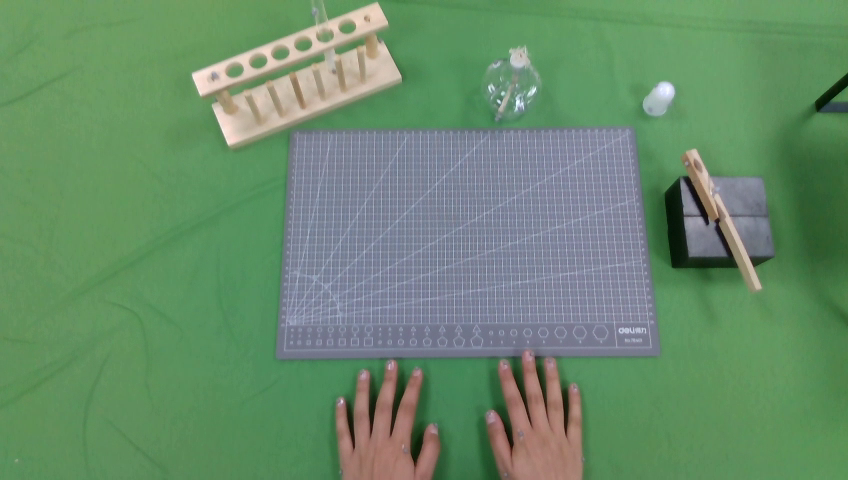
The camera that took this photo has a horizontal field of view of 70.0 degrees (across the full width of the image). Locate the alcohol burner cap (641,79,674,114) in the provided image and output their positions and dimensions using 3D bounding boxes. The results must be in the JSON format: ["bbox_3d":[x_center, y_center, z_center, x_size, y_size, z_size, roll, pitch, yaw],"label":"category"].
[{"bbox_3d":[0.304,-0.188,0.785,0.034,0.048,0.033,0,73,2],"label":"alcohol burner cap"}]

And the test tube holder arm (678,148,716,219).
[{"bbox_3d":[0.323,-0.066,0.711,0.010,0.015,0.087,-18,75,-8],"label":"test tube holder arm"}]

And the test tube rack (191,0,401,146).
[{"bbox_3d":[-0.155,-0.210,0.766,0.242,0.085,0.066,-24,75,-7],"label":"test tube rack"}]

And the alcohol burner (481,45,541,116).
[{"bbox_3d":[0.110,-0.206,0.752,0.078,0.119,0.077,0,75,0],"label":"alcohol burner"}]

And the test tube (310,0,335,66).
[{"bbox_3d":[-0.123,-0.261,0.730,0.017,0.151,0.017,0,68,1],"label":"test tube"}]

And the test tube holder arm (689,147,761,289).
[{"bbox_3d":[0.344,-0.027,0.701,0.013,0.015,0.177,-20,76,-8],"label":"test tube holder arm"}]
